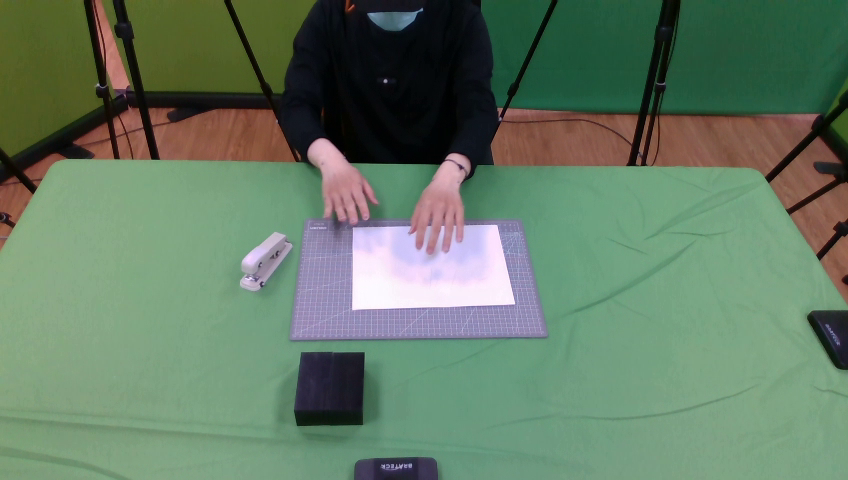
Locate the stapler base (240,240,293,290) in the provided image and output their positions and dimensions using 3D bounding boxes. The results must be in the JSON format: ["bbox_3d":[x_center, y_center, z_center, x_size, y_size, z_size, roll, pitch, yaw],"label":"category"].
[{"bbox_3d":[-0.296,0.038,1.135,0.041,0.024,0.130,20,47,10],"label":"stapler base"}]

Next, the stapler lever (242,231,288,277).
[{"bbox_3d":[-0.294,0.020,1.118,0.027,0.040,0.117,20,46,11],"label":"stapler lever"}]
